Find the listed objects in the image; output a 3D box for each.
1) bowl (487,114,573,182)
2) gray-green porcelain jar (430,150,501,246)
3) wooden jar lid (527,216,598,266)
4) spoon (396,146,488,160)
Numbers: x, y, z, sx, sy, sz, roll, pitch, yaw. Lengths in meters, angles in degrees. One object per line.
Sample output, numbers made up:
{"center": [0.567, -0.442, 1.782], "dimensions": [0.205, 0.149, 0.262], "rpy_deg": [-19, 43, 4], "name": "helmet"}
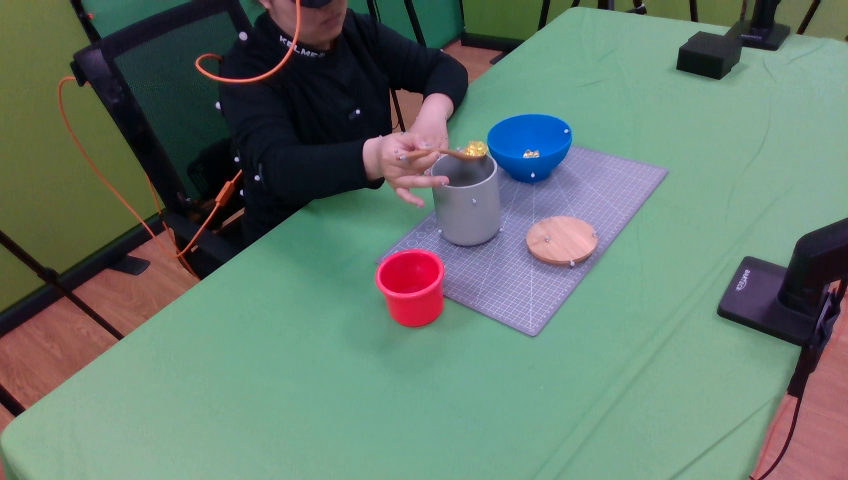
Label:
{"center": [0.190, -0.156, 1.085], "dimensions": [0.151, 0.077, 0.150], "rpy_deg": [-5, 40, 5], "name": "bowl"}
{"center": [0.069, -0.062, 0.959], "dimensions": [0.106, 0.127, 0.105], "rpy_deg": [-5, 40, 5], "name": "gray-green porcelain jar"}
{"center": [0.214, 0.003, 0.937], "dimensions": [0.108, 0.021, 0.108], "rpy_deg": [-4, 40, 4], "name": "wooden jar lid"}
{"center": [0.027, -0.126, 0.867], "dimensions": [0.041, 0.021, 0.195], "rpy_deg": [20, 18, 38], "name": "spoon"}
